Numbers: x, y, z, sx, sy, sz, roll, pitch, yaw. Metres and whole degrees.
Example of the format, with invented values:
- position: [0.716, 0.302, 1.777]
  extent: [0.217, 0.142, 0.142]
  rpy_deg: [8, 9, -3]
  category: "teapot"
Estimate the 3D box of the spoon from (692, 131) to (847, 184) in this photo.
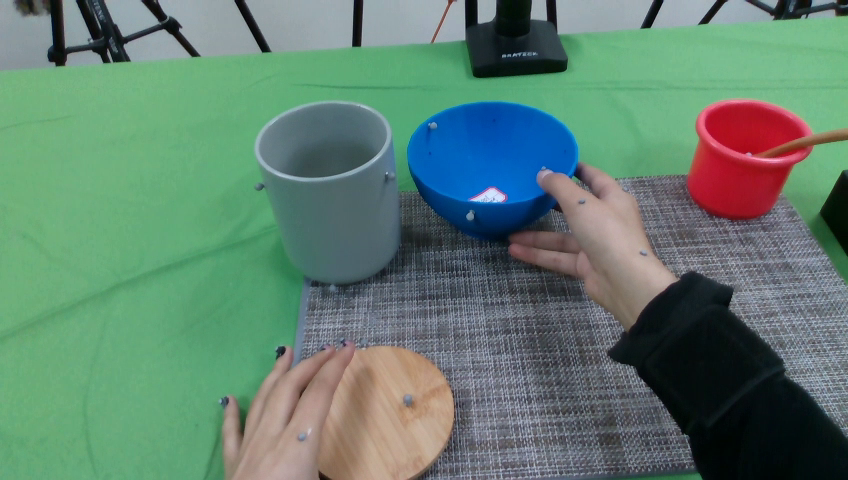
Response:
- position: [0.318, -0.075, 0.519]
  extent: [0.041, 0.193, 0.022]
  rpy_deg: [-37, 99, -26]
  category: "spoon"

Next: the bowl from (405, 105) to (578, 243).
- position: [0.060, -0.050, 0.556]
  extent: [0.151, 0.077, 0.150]
  rpy_deg: [-2, 45, 2]
  category: "bowl"

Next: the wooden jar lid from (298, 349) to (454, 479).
- position: [-0.033, 0.126, 0.425]
  extent: [0.108, 0.021, 0.107]
  rpy_deg: [-2, 44, 2]
  category: "wooden jar lid"

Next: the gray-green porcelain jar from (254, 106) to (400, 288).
- position: [-0.075, -0.031, 0.510]
  extent: [0.106, 0.127, 0.105]
  rpy_deg: [-1, 45, 2]
  category: "gray-green porcelain jar"
